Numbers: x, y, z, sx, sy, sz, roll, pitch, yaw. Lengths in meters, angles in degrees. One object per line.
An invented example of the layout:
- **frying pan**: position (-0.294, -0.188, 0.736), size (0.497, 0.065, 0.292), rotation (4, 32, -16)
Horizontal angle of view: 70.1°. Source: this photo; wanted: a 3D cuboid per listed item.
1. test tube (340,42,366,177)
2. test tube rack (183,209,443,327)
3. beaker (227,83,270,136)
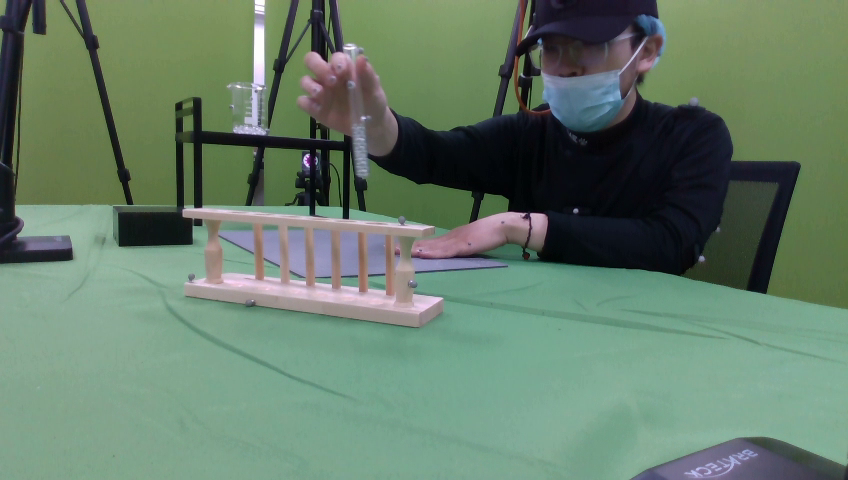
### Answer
- **test tube**: position (-0.079, -0.145, 0.678), size (0.017, 0.150, 0.017), rotation (-5, 3, 1)
- **test tube rack**: position (-0.106, 0.019, 0.570), size (0.241, 0.085, 0.067), rotation (5, 7, 20)
- **beaker**: position (-0.354, -0.262, 1.224), size (0.084, 0.100, 0.073), rotation (-2, 8, -28)
